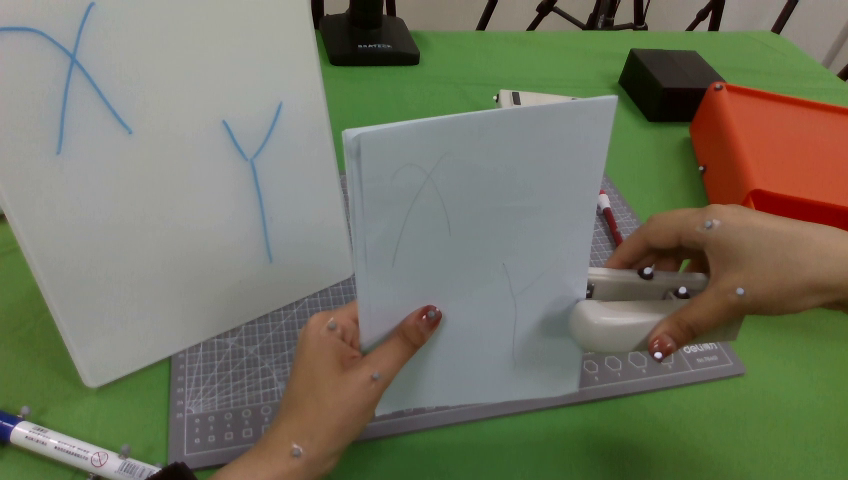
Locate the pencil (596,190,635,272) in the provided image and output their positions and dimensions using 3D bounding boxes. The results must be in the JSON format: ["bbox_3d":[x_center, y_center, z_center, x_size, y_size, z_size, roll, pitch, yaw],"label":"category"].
[{"bbox_3d":[0.194,0.018,0.580,0.012,0.012,0.192,2,46,-8],"label":"pencil"}]

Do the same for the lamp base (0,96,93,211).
[{"bbox_3d":[-0.399,-0.139,0.511,0.178,0.182,0.160,23,45,16],"label":"lamp base"}]

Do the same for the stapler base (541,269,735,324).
[{"bbox_3d":[0.147,0.044,0.408,0.131,0.041,0.024,2,30,-5],"label":"stapler base"}]

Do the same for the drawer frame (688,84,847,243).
[{"bbox_3d":[0.415,-0.072,0.665,0.202,0.083,0.211,10,43,1],"label":"drawer frame"}]

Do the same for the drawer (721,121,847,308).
[{"bbox_3d":[0.406,-0.029,0.621,0.194,0.074,0.210,11,43,2],"label":"drawer"}]

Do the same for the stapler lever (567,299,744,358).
[{"bbox_3d":[0.149,0.056,0.386,0.118,0.027,0.040,2,30,-5],"label":"stapler lever"}]

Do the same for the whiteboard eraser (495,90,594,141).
[{"bbox_3d":[0.142,-0.147,0.723,0.113,0.042,0.055,6,45,-4],"label":"whiteboard eraser"}]

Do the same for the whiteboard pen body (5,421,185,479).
[{"bbox_3d":[-0.217,0.134,0.381,0.140,0.017,0.017,15,44,7],"label":"whiteboard pen body"}]

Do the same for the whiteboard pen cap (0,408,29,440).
[{"bbox_3d":[-0.272,0.117,0.388,0.033,0.018,0.018,15,44,8],"label":"whiteboard pen cap"}]

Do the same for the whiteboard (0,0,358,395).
[{"bbox_3d":[-0.196,-0.086,0.446,0.217,0.308,0.142,-23,33,-29],"label":"whiteboard"}]
